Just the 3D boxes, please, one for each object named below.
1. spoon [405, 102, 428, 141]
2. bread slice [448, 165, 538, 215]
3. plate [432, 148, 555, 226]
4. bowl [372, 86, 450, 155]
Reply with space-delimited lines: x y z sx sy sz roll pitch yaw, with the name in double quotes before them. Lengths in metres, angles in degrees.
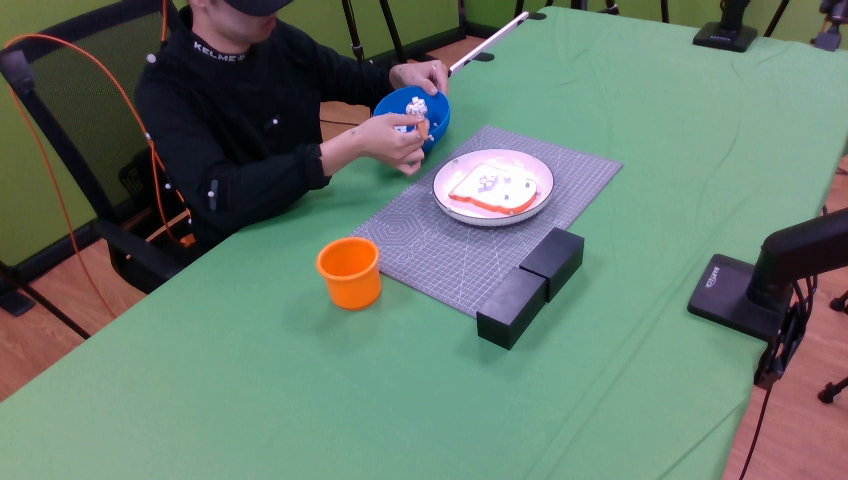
"spoon" -0.010 -0.214 1.077 0.042 0.022 0.193 -6 26 -2
"bread slice" 0.126 -0.085 1.038 0.133 0.018 0.107 16 45 27
"plate" 0.119 -0.087 1.037 0.209 0.038 0.208 -4 40 4
"bowl" -0.019 -0.218 1.168 0.151 0.077 0.150 -5 53 7
